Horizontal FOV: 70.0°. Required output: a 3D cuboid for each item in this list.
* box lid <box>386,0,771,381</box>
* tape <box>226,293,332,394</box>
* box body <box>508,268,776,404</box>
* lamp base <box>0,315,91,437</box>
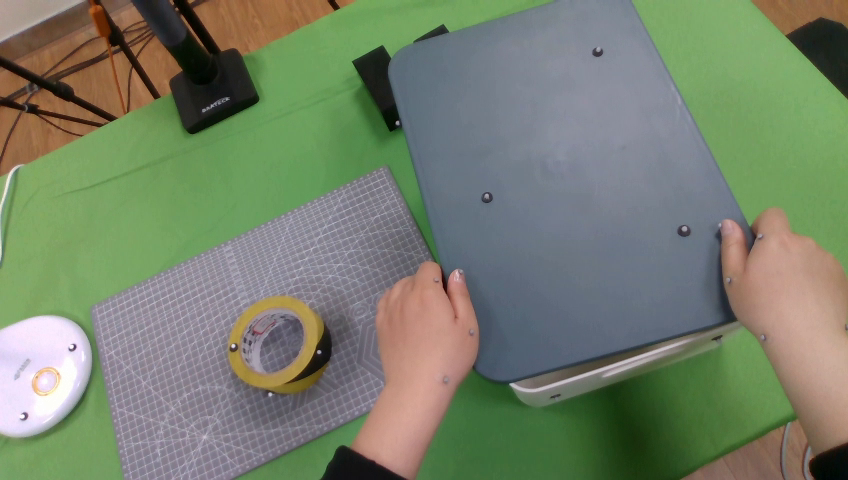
[{"bbox_3d":[0.122,-0.075,0.568,0.263,0.015,0.368,-16,67,2],"label":"box lid"},{"bbox_3d":[-0.174,0.124,0.731,0.117,0.053,0.116,-4,66,9],"label":"tape"},{"bbox_3d":[0.157,-0.027,0.672,0.254,0.162,0.360,-20,65,2],"label":"box body"},{"bbox_3d":[-0.537,0.143,0.727,0.178,0.182,0.160,10,69,18],"label":"lamp base"}]
